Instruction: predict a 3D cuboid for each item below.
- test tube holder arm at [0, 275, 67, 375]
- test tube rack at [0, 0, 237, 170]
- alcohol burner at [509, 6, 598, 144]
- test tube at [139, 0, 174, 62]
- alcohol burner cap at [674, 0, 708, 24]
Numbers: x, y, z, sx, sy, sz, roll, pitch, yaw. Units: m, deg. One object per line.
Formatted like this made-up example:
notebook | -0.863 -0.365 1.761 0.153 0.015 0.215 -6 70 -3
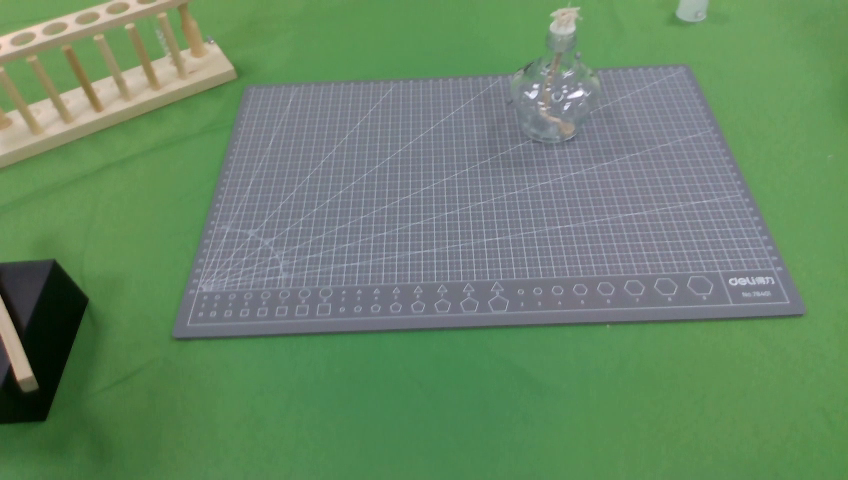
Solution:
test tube holder arm | -0.284 0.033 0.404 0.177 0.015 0.013 33 62 28
test tube rack | -0.317 -0.163 0.586 0.242 0.086 0.066 -27 54 -18
alcohol burner | 0.113 -0.143 0.520 0.078 0.120 0.077 -1 49 2
test tube | -0.269 -0.239 0.581 0.017 0.152 0.017 -4 48 4
alcohol burner cap | 0.294 -0.263 0.657 0.034 0.048 0.033 -3 51 4
